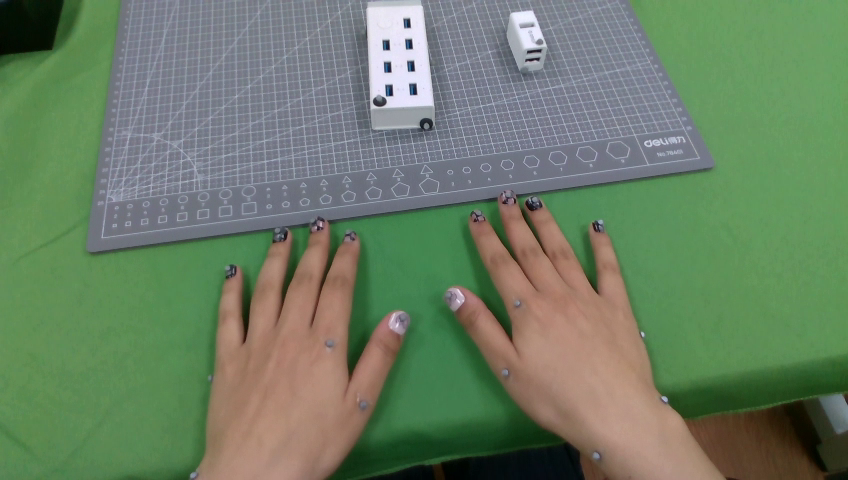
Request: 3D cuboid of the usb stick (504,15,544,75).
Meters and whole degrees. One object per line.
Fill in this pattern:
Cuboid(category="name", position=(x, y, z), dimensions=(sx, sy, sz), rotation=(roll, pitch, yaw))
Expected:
Cuboid(category="usb stick", position=(0.081, -0.168, 0.507), dimensions=(0.021, 0.027, 0.058), rotation=(-9, 56, -5))

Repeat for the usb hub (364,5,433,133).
Cuboid(category="usb hub", position=(-0.023, -0.141, 0.490), dimensions=(0.049, 0.025, 0.124), rotation=(-4, 58, -3))
